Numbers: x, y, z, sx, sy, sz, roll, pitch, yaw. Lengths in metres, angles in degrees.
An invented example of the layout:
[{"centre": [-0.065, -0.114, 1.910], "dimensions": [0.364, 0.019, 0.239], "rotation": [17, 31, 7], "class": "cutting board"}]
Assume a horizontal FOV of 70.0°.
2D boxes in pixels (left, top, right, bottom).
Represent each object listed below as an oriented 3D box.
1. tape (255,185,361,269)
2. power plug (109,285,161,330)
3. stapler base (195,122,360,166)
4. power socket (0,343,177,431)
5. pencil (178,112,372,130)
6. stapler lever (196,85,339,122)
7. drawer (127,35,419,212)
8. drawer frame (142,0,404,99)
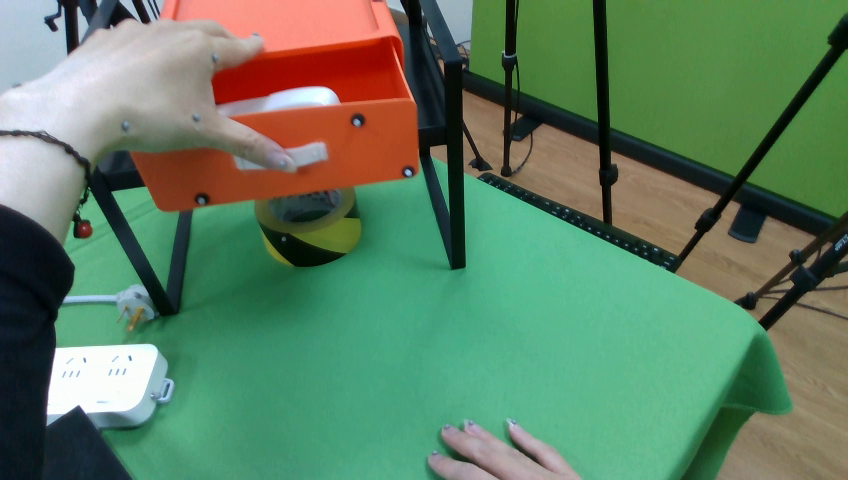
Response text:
[{"centre": [-0.127, -0.028, 0.677], "dimensions": [0.117, 0.053, 0.115], "rotation": [-1, 46, 1], "class": "tape"}, {"centre": [-0.296, 0.074, 0.612], "dimensions": [0.072, 0.035, 0.052], "rotation": [-29, 30, 29], "class": "power plug"}, {"centre": [-0.118, -0.079, 0.483], "dimensions": [0.130, 0.024, 0.041], "rotation": [0, 39, 7], "class": "stapler base"}, {"centre": [-0.339, 0.132, 0.543], "dimensions": [0.227, 0.033, 0.071], "rotation": [-3, 44, 2], "class": "power socket"}, {"centre": [-0.129, -0.100, 0.504], "dimensions": [0.193, 0.012, 0.012], "rotation": [3, 44, 23], "class": "pencil"}, {"centre": [-0.122, -0.097, 0.467], "dimensions": [0.118, 0.040, 0.026], "rotation": [0, 39, 6], "class": "stapler lever"}, {"centre": [-0.117, -0.125, 0.501], "dimensions": [0.195, 0.074, 0.209], "rotation": [-9, 44, -5], "class": "drawer"}, {"centre": [-0.134, -0.187, 0.560], "dimensions": [0.202, 0.083, 0.211], "rotation": [-11, 44, -7], "class": "drawer frame"}]
